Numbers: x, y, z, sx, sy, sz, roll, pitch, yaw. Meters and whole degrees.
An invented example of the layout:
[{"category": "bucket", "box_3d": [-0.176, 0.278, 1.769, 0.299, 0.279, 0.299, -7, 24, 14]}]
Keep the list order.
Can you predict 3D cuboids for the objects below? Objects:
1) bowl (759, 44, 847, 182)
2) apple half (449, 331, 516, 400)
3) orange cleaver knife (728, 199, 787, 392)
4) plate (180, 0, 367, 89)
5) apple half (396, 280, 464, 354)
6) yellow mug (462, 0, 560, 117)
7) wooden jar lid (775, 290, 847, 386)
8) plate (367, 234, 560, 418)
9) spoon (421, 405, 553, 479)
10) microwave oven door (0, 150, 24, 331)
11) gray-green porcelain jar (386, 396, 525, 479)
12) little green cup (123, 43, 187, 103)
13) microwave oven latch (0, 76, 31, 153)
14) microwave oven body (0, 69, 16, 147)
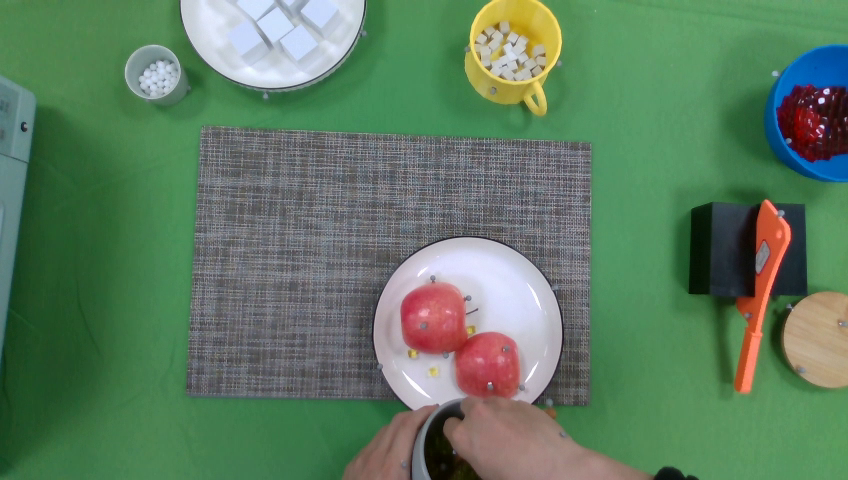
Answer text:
[{"category": "bowl", "box_3d": [0.440, -0.132, 0.680, 0.151, 0.077, 0.151, 0, 86, -1]}, {"category": "apple half", "box_3d": [0.065, 0.138, 0.658, 0.081, 0.033, 0.081, 0, 82, -2]}, {"category": "orange cleaver knife", "box_3d": [0.354, 0.063, 0.661, 0.012, 0.077, 0.212, 3, 110, 2]}, {"category": "plate", "box_3d": [-0.168, -0.271, 0.691, 0.208, 0.039, 0.207, 0, 86, -2]}, {"category": "apple half", "box_3d": [0.006, 0.083, 0.652, 0.074, 0.053, 0.080, 0, 86, 1]}, {"category": "yellow mug", "box_3d": [0.102, -0.199, 0.681, 0.100, 0.064, 0.130, -27, 88, -4]}, {"category": "wooden jar lid", "box_3d": [0.452, 0.112, 0.691, 0.108, 0.021, 0.108, 0, 86, 0]}, {"category": "plate", "box_3d": [0.042, 0.097, 0.667, 0.209, 0.038, 0.208, 0, 86, -2]}, {"category": "spoon", "box_3d": [0.046, 0.194, 0.560, 0.022, 0.194, 0.041, 23, 44, -26]}, {"category": "microwave oven door", "box_3d": [-0.468, 0.073, 0.536, 0.039, 0.244, 0.355, 5, 85, -1]}, {"category": "gray-green porcelain jar", "box_3d": [0.024, 0.224, 0.583, 0.106, 0.127, 0.105, 11, 51, -13]}, {"category": "little green cup", "box_3d": [-0.298, -0.184, 0.679, 0.061, 0.038, 0.061, 0, 86, -3]}, {"category": "microwave oven latch", "box_3d": [-0.449, -0.136, 0.653, 0.030, 0.029, 0.079, 9, 86, -2]}, {"category": "microwave oven body", "box_3d": [-0.610, 0.017, 0.541, 0.326, 0.260, 0.441, 5, 86, -2]}]
